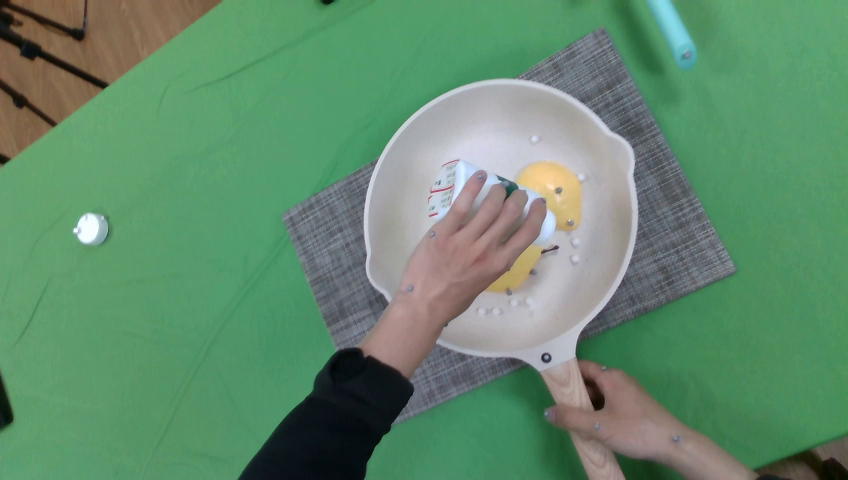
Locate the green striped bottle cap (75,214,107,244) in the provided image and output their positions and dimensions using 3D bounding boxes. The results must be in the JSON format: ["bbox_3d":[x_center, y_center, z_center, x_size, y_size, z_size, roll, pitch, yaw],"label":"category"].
[{"bbox_3d":[-0.480,-0.016,0.874,0.044,0.020,0.044,-1,87,19],"label":"green striped bottle cap"}]

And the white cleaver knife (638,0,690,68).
[{"bbox_3d":[0.210,-0.306,0.640,0.021,0.066,0.285,-26,78,20],"label":"white cleaver knife"}]

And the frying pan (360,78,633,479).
[{"bbox_3d":[0.110,0.068,0.630,0.306,0.103,0.484,-26,71,16],"label":"frying pan"}]

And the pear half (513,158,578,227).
[{"bbox_3d":[0.133,-0.052,0.665,0.070,0.031,0.087,-44,71,15],"label":"pear half"}]

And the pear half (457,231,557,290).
[{"bbox_3d":[0.090,0.014,0.665,0.109,0.056,0.076,-15,88,14],"label":"pear half"}]

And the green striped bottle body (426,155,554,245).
[{"bbox_3d":[0.067,-0.034,0.584,0.120,0.062,0.063,17,93,-25],"label":"green striped bottle body"}]
